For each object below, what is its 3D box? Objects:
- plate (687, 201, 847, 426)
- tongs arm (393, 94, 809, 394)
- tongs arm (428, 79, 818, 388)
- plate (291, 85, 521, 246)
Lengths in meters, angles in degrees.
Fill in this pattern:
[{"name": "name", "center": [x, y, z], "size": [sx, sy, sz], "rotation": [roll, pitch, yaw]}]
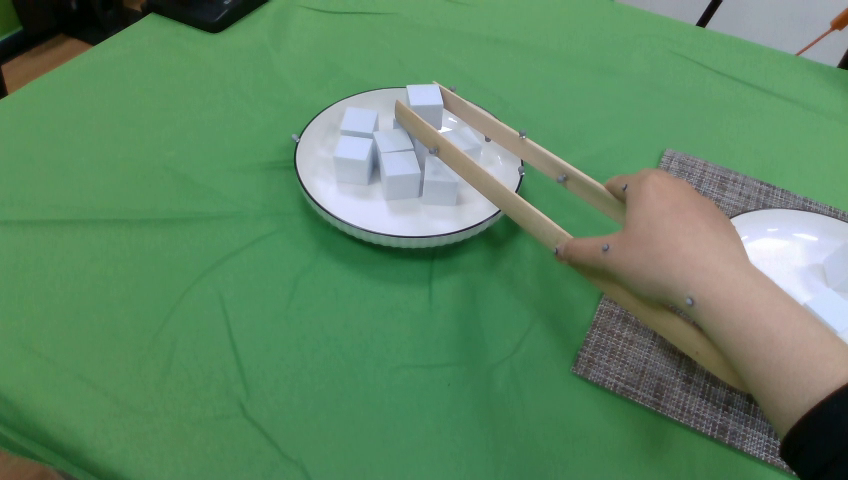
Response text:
[{"name": "plate", "center": [0.309, 0.055, 0.478], "size": [0.208, 0.039, 0.205], "rotation": [3, 49, -3]}, {"name": "tongs arm", "center": [0.094, -0.018, 0.458], "size": [0.028, 0.028, 0.383], "rotation": [-28, 52, -28]}, {"name": "tongs arm", "center": [0.116, -0.031, 0.469], "size": [0.051, 0.027, 0.381], "rotation": [-33, 54, -28]}, {"name": "plate", "center": [-0.016, -0.069, 0.562], "size": [0.209, 0.038, 0.207], "rotation": [3, 49, -3]}]
